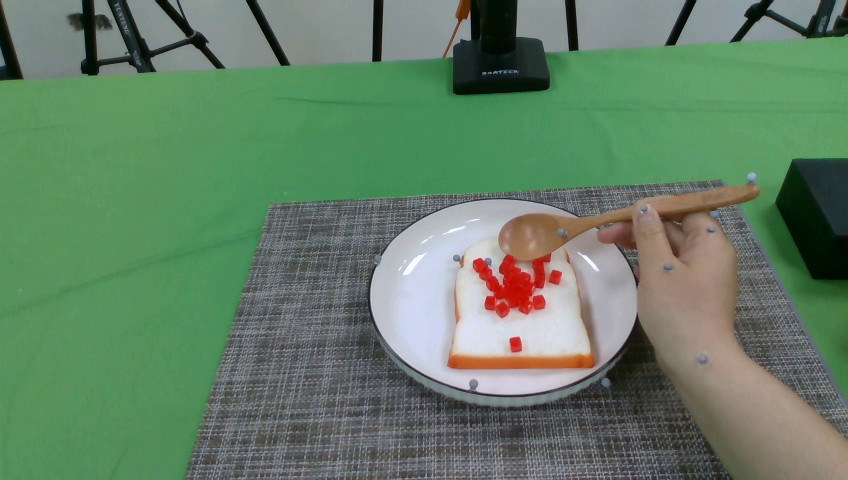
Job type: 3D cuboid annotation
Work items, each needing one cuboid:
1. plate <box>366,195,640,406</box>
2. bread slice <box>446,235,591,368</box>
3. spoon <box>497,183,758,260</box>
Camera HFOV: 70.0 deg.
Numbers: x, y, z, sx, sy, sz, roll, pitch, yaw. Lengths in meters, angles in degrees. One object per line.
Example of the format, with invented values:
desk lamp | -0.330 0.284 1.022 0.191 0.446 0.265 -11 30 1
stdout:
plate | 0.059 0.043 0.481 0.209 0.038 0.207 -3 44 3
bread slice | 0.071 0.044 0.482 0.105 0.019 0.130 -1 44 4
spoon | 0.139 -0.016 0.449 0.193 0.022 0.041 -13 64 40
